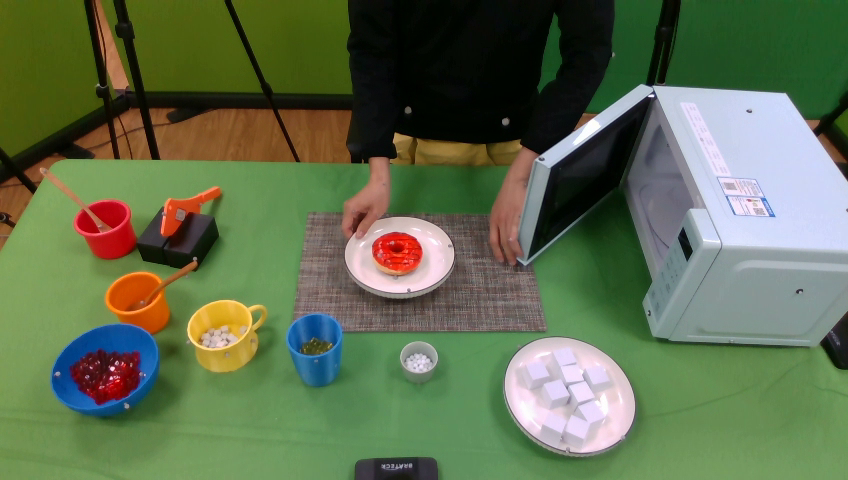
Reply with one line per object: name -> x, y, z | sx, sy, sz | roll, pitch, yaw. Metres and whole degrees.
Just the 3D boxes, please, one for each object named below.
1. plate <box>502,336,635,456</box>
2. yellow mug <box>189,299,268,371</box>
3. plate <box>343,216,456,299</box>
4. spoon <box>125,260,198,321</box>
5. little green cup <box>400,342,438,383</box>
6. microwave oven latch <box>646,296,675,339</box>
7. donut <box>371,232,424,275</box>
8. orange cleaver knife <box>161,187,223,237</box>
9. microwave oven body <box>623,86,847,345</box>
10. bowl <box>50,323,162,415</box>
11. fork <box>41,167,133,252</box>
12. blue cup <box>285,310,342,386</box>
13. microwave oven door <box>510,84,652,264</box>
plate -> 0.225, 0.248, 0.963 | 0.208, 0.039, 0.206 | 2, 46, -2
yellow mug -> -0.316, 0.148, 1.002 | 0.131, 0.064, 0.099 | -32, 56, -31
plate -> -0.045, 0.035, 1.124 | 0.209, 0.038, 0.208 | 1, 43, 0
spoon -> -0.434, 0.083, 0.999 | 0.022, 0.194, 0.041 | 35, 34, -34
little green cup -> -0.010, 0.202, 0.991 | 0.061, 0.039, 0.061 | 2, 46, -2
microwave oven latch -> 0.412, 0.134, 1.061 | 0.030, 0.029, 0.078 | 4, 45, 1
donut -> -0.049, 0.025, 1.118 | 0.099, 0.048, 0.098 | 2, 43, -2
orange cleaver knife -> -0.448, -0.058, 1.181 | 0.012, 0.077, 0.211 | 13, 17, 6
microwave oven body -> 0.567, -0.053, 1.118 | 0.326, 0.261, 0.439 | 2, 45, -1
bowl -> -0.472, 0.209, 0.924 | 0.151, 0.077, 0.150 | 3, 45, -2
fork -> -0.624, -0.056, 1.121 | 0.208, 0.018, 0.028 | 49, 51, -15
blue cup -> -0.170, 0.179, 0.958 | 0.093, 0.101, 0.092 | 2, 44, -1
microwave oven door -> 0.308, -0.133, 1.170 | 0.039, 0.245, 0.355 | 37, 54, 27
